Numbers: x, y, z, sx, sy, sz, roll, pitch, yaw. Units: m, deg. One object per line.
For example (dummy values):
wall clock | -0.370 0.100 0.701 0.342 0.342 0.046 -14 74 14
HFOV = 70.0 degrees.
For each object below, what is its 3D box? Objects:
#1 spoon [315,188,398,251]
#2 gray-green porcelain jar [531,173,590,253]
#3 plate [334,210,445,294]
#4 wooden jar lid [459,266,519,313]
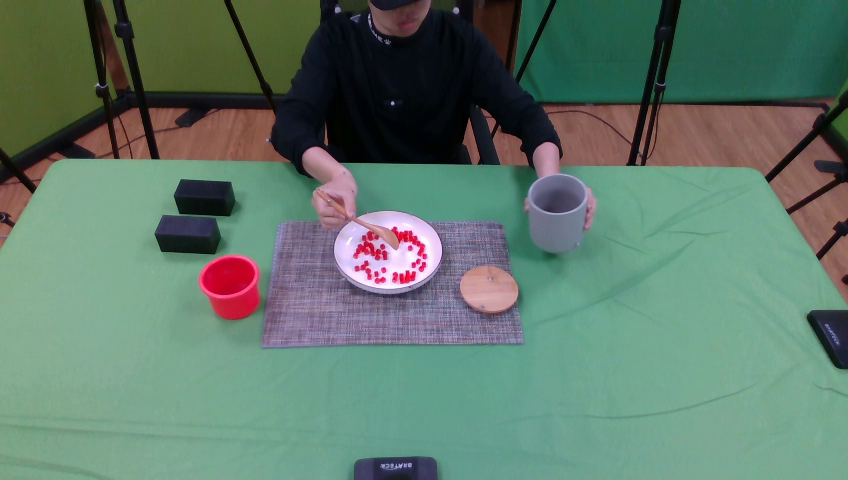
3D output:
spoon | -0.121 -0.037 1.106 0.194 0.021 0.041 31 34 -24
gray-green porcelain jar | 0.254 -0.045 1.138 0.106 0.127 0.105 -5 50 6
plate | -0.066 0.026 1.150 0.208 0.039 0.206 2 46 -2
wooden jar lid | 0.118 0.093 1.111 0.108 0.021 0.107 1 47 -1
